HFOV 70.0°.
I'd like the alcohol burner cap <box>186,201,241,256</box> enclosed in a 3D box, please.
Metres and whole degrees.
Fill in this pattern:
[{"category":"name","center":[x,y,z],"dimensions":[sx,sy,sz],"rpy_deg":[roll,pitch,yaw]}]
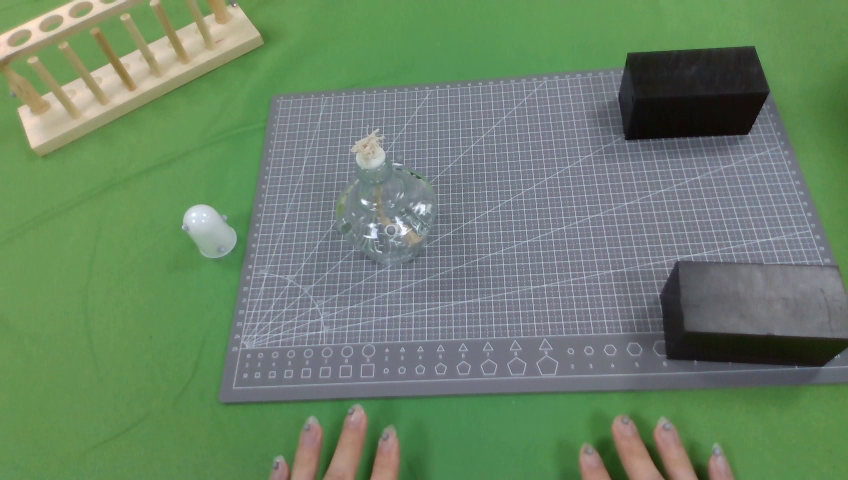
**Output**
[{"category":"alcohol burner cap","center":[-0.174,-0.012,0.493],"dimensions":[0.034,0.048,0.033],"rpy_deg":[-4,59,7]}]

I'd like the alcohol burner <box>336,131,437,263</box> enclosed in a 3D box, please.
[{"category":"alcohol burner","center":[-0.030,-0.034,0.443],"dimensions":[0.078,0.120,0.077],"rpy_deg":[-3,57,6]}]

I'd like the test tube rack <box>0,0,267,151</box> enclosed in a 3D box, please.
[{"category":"test tube rack","center":[-0.286,-0.189,0.584],"dimensions":[0.242,0.086,0.066],"rpy_deg":[-31,61,-11]}]
